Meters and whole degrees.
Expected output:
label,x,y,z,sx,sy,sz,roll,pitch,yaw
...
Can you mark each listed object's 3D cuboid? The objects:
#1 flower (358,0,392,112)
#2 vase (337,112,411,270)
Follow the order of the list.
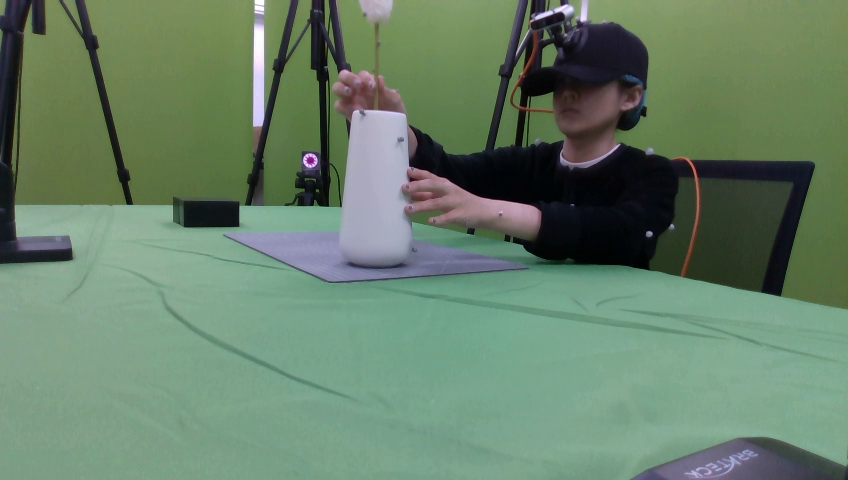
label,x,y,z,sx,sy,sz,roll,pitch,yaw
flower,-0.063,-0.156,0.801,0.044,0.361,0.038,2,12,11
vase,-0.064,-0.064,0.790,0.098,0.200,0.098,2,7,0
